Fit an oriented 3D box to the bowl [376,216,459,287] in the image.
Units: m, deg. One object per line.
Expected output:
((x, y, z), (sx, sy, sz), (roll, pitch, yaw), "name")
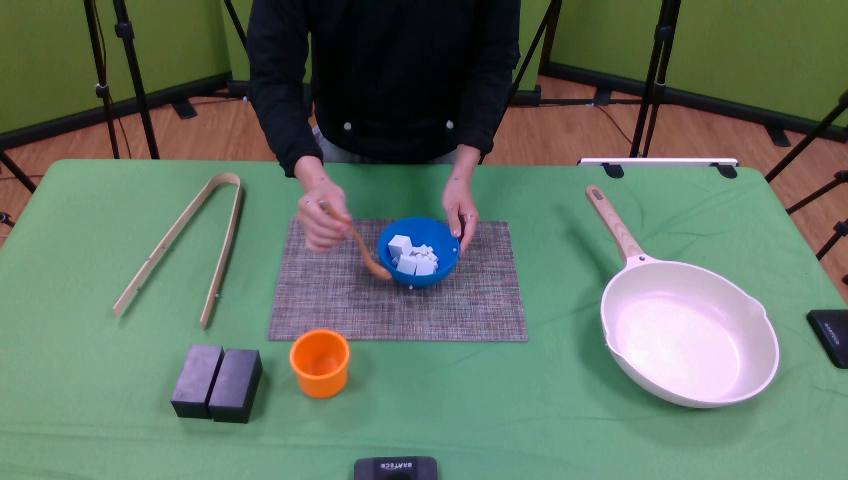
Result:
((-0.014, 0.035, 1.119), (0.151, 0.077, 0.150), (2, 46, -2), "bowl")

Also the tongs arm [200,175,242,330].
((-0.387, 0.008, 1.159), (0.028, 0.028, 0.385), (-1, 46, -3), "tongs arm")

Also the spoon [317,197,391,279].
((-0.103, -0.002, 0.914), (0.021, 0.195, 0.041), (-34, 40, -2), "spoon")

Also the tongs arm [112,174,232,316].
((-0.467, -0.005, 1.157), (0.051, 0.026, 0.382), (11, 45, 4), "tongs arm")

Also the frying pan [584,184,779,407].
((0.412, 0.079, 1.096), (0.307, 0.103, 0.484), (-10, 56, -15), "frying pan")
